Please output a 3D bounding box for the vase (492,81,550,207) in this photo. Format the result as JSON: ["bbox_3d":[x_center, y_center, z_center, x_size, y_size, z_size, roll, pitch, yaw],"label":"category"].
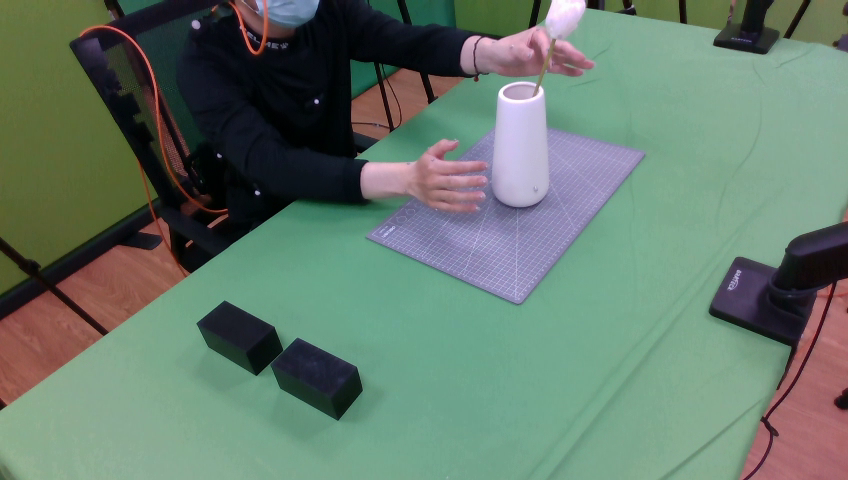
[{"bbox_3d":[0.159,-0.151,0.982,0.098,0.201,0.097,-3,41,3],"label":"vase"}]

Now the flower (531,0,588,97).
[{"bbox_3d":[0.163,-0.206,0.918,0.044,0.362,0.038,9,52,-5],"label":"flower"}]
